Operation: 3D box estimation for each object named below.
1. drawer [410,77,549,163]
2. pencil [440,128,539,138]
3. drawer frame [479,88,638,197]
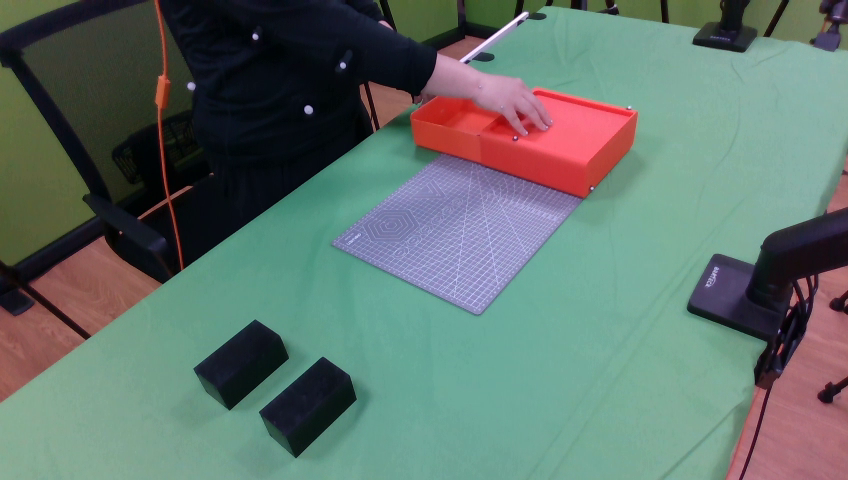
[{"bbox_3d":[0.113,-0.236,1.185,0.210,0.073,0.195,21,46,32],"label":"drawer"},{"bbox_3d":[0.128,-0.209,1.191,0.194,0.012,0.012,-2,40,8],"label":"pencil"},{"bbox_3d":[0.243,-0.184,1.101,0.212,0.083,0.202,23,48,30],"label":"drawer frame"}]
